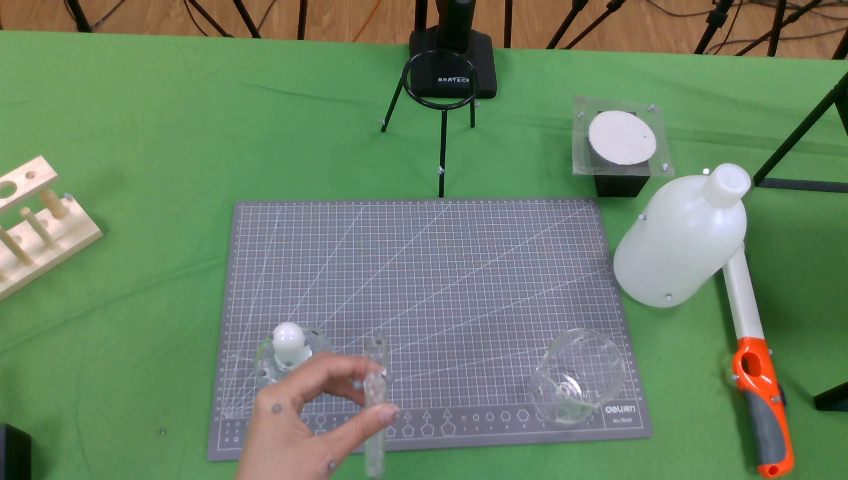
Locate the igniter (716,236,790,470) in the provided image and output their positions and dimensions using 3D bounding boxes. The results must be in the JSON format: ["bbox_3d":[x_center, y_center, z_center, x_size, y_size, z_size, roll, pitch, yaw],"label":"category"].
[{"bbox_3d":[0.363,0.115,0.680,0.057,0.025,0.274,10,60,-11],"label":"igniter"}]

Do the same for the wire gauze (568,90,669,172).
[{"bbox_3d":[0.241,-0.136,0.761,0.121,0.011,0.124,6,60,-2],"label":"wire gauze"}]

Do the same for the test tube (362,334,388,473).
[{"bbox_3d":[-0.035,0.120,0.422,0.017,0.151,0.017,3,40,-2],"label":"test tube"}]

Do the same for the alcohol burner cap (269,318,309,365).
[{"bbox_3d":[-0.125,0.091,0.553,0.034,0.048,0.033,1,56,-1],"label":"alcohol burner cap"}]

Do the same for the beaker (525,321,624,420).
[{"bbox_3d":[0.142,0.135,0.603,0.084,0.101,0.073,-4,61,-6],"label":"beaker"}]

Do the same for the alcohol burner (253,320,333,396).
[{"bbox_3d":[-0.128,0.108,0.585,0.078,0.120,0.077,3,59,-5],"label":"alcohol burner"}]

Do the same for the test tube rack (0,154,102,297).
[{"bbox_3d":[-0.474,0.020,0.620,0.242,0.086,0.066,-39,71,-23],"label":"test tube rack"}]

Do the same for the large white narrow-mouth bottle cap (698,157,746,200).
[{"bbox_3d":[0.280,-0.058,0.572,0.038,0.024,0.037,2,61,-3],"label":"large white narrow-mouth bottle cap"}]

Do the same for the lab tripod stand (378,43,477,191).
[{"bbox_3d":[0.013,-0.155,0.735,0.148,0.132,0.147,3,62,-5],"label":"lab tripod stand"}]

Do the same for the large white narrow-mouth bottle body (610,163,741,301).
[{"bbox_3d":[0.275,-0.015,0.647,0.102,0.196,0.101,2,60,-3],"label":"large white narrow-mouth bottle body"}]
